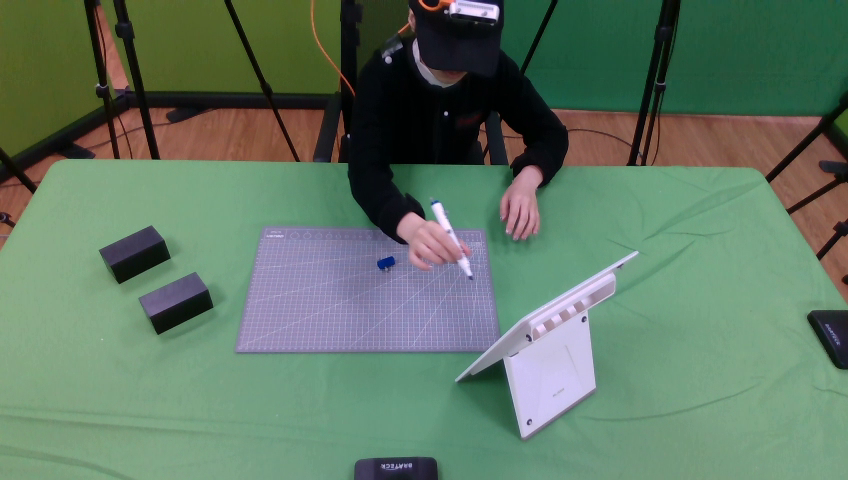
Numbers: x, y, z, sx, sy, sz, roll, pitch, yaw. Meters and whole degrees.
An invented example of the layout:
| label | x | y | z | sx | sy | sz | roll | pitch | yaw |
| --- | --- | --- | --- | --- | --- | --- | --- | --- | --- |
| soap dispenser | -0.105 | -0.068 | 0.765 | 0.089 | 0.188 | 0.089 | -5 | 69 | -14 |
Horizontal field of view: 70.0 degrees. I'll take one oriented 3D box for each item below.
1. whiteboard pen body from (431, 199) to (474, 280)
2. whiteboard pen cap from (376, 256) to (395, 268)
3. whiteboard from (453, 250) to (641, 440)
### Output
| label | x | y | z | sx | sy | sz | roll | pitch | yaw |
| --- | --- | --- | --- | --- | --- | --- | --- | --- | --- |
| whiteboard pen body | 0.046 | -0.001 | 0.950 | 0.017 | 0.017 | 0.140 | -22 | 80 | -23 |
| whiteboard pen cap | -0.073 | 0.042 | 1.149 | 0.033 | 0.018 | 0.018 | -19 | 50 | -17 |
| whiteboard | 0.205 | 0.175 | 0.890 | 0.217 | 0.306 | 0.143 | -25 | 72 | -25 |
